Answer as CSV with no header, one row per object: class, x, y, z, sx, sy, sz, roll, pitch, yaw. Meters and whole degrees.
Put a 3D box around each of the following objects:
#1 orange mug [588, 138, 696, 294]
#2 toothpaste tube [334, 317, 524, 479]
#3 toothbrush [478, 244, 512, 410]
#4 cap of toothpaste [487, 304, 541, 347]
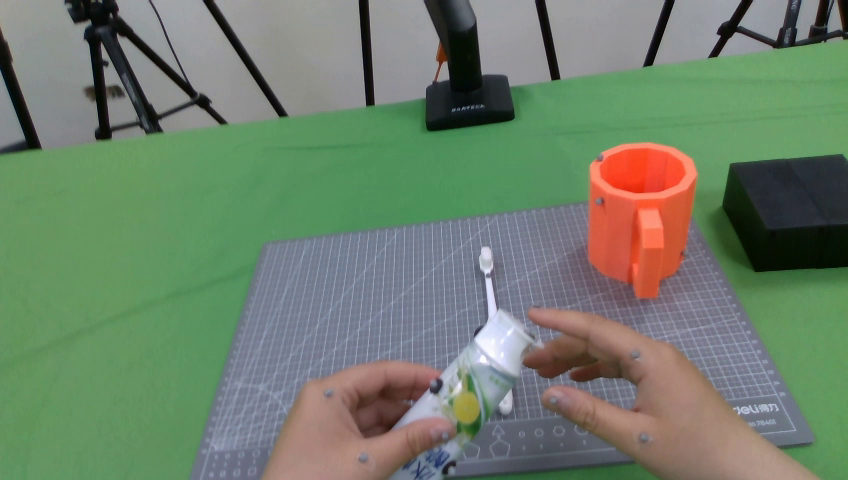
orange mug,0.189,-0.017,0.530,0.083,0.102,0.125,-2,37,12
toothpaste tube,0.004,0.113,0.365,0.055,0.034,0.165,38,94,8
toothbrush,0.061,0.067,0.525,0.014,0.017,0.180,2,42,-3
cap of toothpaste,0.053,0.053,0.358,0.011,0.038,0.037,-51,46,5
